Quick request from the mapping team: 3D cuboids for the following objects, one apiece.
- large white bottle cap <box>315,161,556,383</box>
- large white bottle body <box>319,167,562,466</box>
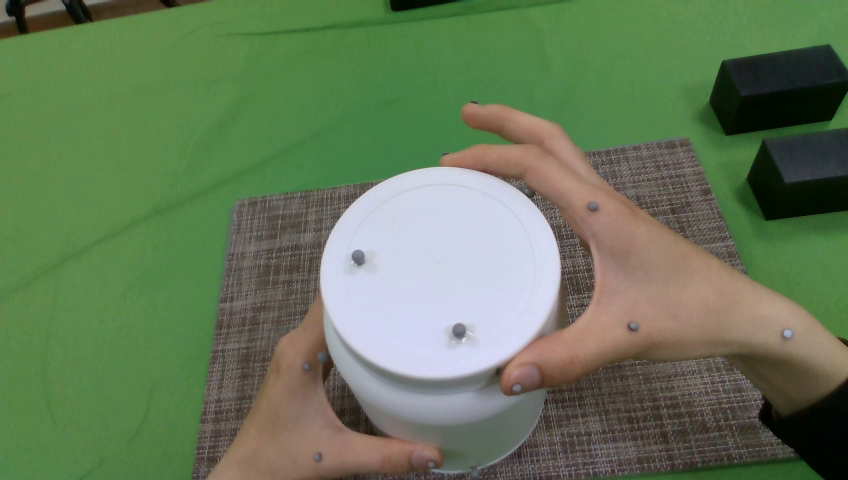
[{"bbox_3d":[0.006,0.011,0.291,0.115,0.018,0.114,-1,60,3],"label":"large white bottle cap"},{"bbox_3d":[0.012,0.054,0.364,0.130,0.186,0.129,-2,60,4],"label":"large white bottle body"}]
